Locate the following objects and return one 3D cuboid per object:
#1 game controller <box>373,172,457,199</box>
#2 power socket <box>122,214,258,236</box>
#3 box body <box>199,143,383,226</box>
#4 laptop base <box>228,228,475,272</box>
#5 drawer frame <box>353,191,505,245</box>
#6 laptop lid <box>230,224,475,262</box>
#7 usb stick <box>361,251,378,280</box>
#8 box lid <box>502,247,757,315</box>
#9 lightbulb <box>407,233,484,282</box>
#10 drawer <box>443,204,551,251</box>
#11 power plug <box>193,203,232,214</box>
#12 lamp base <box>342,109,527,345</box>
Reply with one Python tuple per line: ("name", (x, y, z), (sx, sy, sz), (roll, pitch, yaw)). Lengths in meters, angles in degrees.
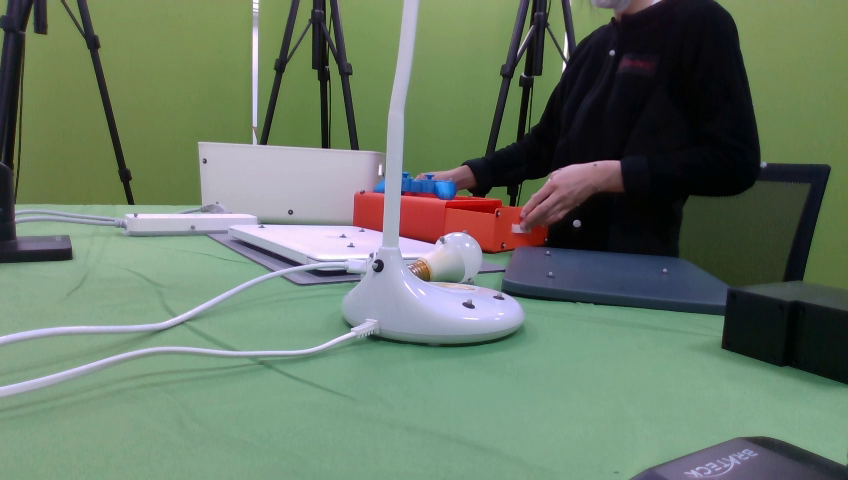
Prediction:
("game controller", (-0.011, -0.101, 1.151), (0.155, 0.051, 0.097), (6, 3, 12))
("power socket", (-0.398, -0.028, 1.049), (0.228, 0.032, 0.072), (-3, 8, -34))
("box body", (-0.276, -0.124, 1.335), (0.364, 0.160, 0.254), (3, 7, 1))
("laptop base", (-0.122, 0.011, 0.889), (0.237, 0.023, 0.352), (2, 6, -35))
("drawer frame", (0.011, -0.048, 1.143), (0.212, 0.082, 0.203), (8, 9, 35))
("laptop lid", (-0.120, 0.000, 0.889), (0.243, 0.013, 0.355), (1, 7, -33))
("usb stick", (-0.051, 0.033, 0.656), (0.027, 0.021, 0.059), (4, -27, -21))
("box lid", (0.244, 0.044, 0.793), (0.263, 0.015, 0.372), (4, 7, 11))
("lightbulb", (0.020, 0.028, 0.694), (0.108, 0.059, 0.059), (-20, 18, -31))
("drawer", (0.091, -0.034, 1.086), (0.210, 0.073, 0.195), (8, 10, 37))
("power plug", (-0.393, -0.042, 1.139), (0.072, 0.052, 0.035), (-14, 2, 31))
("lamp base", (0.006, -0.015, 0.505), (0.160, 0.180, 0.180), (6, 11, 29))
